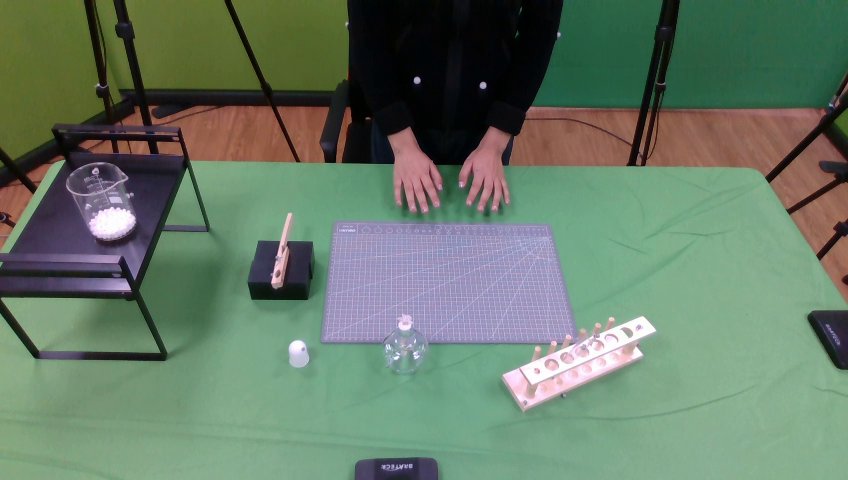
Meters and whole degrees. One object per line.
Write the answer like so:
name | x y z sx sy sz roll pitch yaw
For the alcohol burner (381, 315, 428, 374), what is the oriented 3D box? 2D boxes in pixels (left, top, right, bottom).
alcohol burner | -0.031 0.162 0.973 0.078 0.120 0.077 2 44 -1

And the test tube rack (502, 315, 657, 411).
test tube rack | 0.253 0.186 0.988 0.242 0.085 0.066 -18 50 -20

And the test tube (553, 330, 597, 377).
test tube | 0.226 0.176 0.924 0.017 0.151 0.017 6 55 -9

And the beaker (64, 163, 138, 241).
beaker | -0.477 -0.055 0.910 0.084 0.101 0.073 -9 48 -13

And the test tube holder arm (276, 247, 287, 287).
test tube holder arm | -0.251 0.046 1.068 0.010 0.015 0.087 -1 45 -3

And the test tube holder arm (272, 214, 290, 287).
test tube holder arm | -0.259 0.015 1.099 0.013 0.015 0.177 -2 45 -3

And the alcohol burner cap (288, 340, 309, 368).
alcohol burner cap | -0.207 0.183 0.991 0.034 0.048 0.033 3 46 -3
